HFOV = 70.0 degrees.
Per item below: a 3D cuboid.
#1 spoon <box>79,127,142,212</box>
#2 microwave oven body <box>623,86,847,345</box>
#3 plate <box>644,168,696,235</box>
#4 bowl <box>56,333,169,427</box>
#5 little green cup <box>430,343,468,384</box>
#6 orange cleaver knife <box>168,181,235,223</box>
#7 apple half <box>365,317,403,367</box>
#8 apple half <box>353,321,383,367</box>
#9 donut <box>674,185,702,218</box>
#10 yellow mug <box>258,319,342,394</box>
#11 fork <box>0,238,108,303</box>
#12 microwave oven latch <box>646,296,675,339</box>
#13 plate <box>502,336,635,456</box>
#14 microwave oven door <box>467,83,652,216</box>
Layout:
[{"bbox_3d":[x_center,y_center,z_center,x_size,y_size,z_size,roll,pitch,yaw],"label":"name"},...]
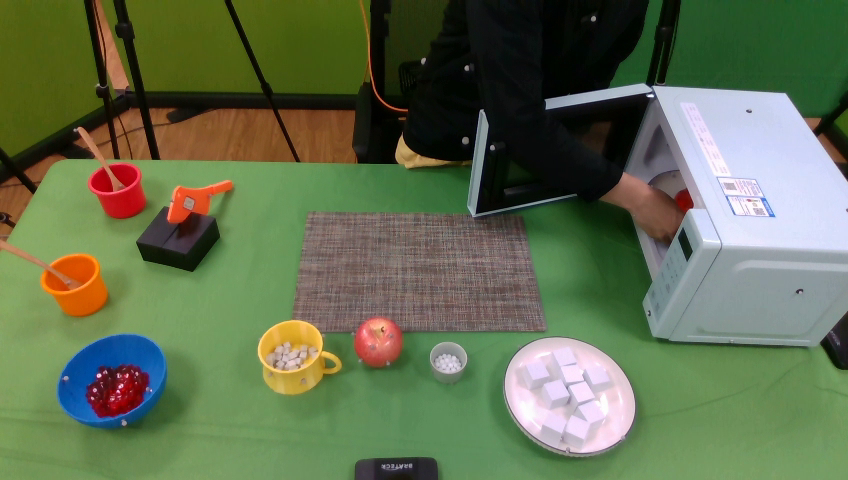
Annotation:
[{"bbox_3d":[-0.624,-0.140,1.203,0.041,0.021,0.194,-33,101,-26],"label":"spoon"},{"bbox_3d":[0.567,-0.053,1.118,0.326,0.261,0.439,2,45,-1],"label":"microwave oven body"},{"bbox_3d":[0.536,-0.062,1.190,0.209,0.038,0.208,2,47,-2],"label":"plate"},{"bbox_3d":[-0.456,0.222,0.912,0.151,0.077,0.150,3,46,-2],"label":"bowl"},{"bbox_3d":[0.039,0.204,0.993,0.061,0.039,0.061,3,47,-3],"label":"little green cup"},{"bbox_3d":[-0.436,-0.078,1.196,0.012,0.077,0.211,16,15,10],"label":"orange cleaver knife"},{"bbox_3d":[-0.063,0.165,0.999,0.053,0.075,0.080,-16,45,-24],"label":"apple half"},{"bbox_3d":[-0.097,0.177,0.984,0.033,0.081,0.081,-17,49,-24],"label":"apple half"},{"bbox_3d":[0.536,-0.069,1.178,0.099,0.048,0.098,2,44,-2],"label":"donut"},{"bbox_3d":[-0.195,0.188,0.972,0.131,0.064,0.099,9,47,4],"label":"yellow mug"},{"bbox_3d":[-0.633,0.048,1.017,0.208,0.018,0.028,40,43,-27],"label":"fork"},{"bbox_3d":[0.412,0.134,1.061,0.030,0.029,0.078,4,45,1],"label":"microwave oven latch"},{"bbox_3d":[0.225,0.248,0.963,0.208,0.039,0.206,2,46,-2],"label":"plate"},{"bbox_3d":[0.267,-0.181,1.214,0.356,0.245,0.039,-12,49,-15],"label":"microwave oven door"}]
